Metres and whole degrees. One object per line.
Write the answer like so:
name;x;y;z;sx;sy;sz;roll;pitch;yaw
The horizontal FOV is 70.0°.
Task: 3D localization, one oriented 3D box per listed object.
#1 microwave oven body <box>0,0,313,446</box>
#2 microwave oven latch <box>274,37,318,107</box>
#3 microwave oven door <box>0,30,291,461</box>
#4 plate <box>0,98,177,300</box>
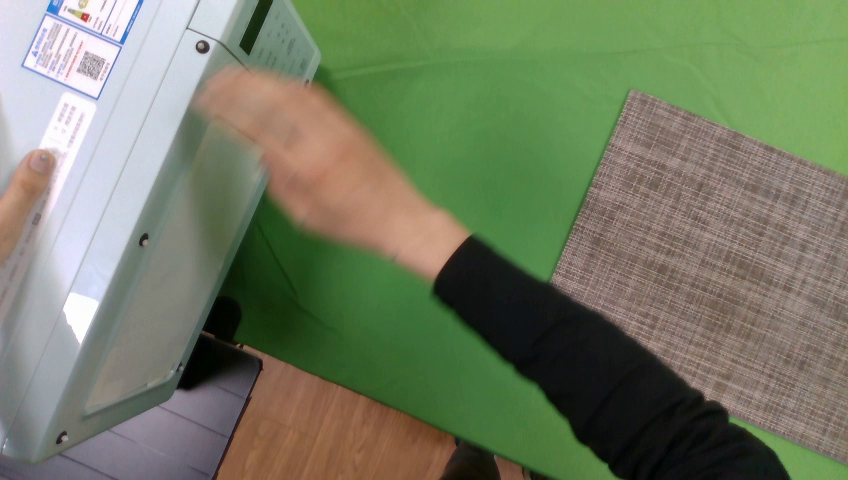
microwave oven body;-0.356;-0.091;0.582;0.326;0.260;0.441;24;90;1
microwave oven latch;-0.146;-0.191;0.676;0.030;0.029;0.079;26;90;1
microwave oven door;-0.240;0.006;0.574;0.039;0.244;0.355;23;89;2
plate;-0.359;-0.043;0.639;0.209;0.038;0.209;0;91;1
